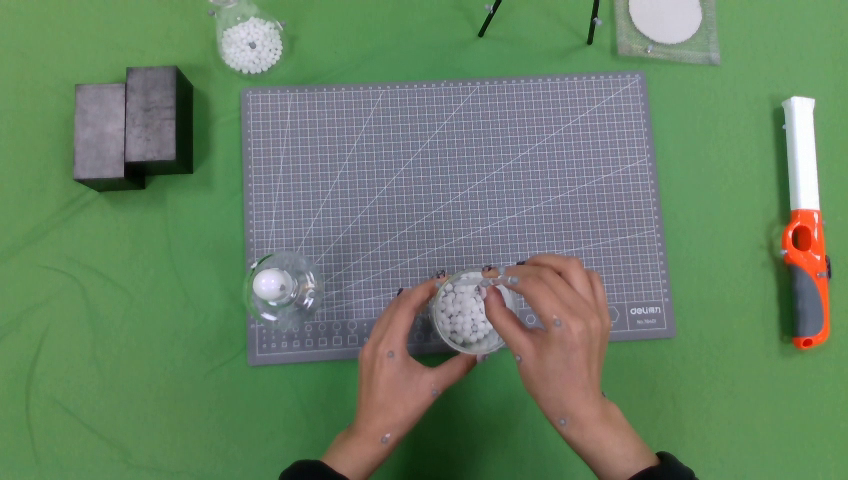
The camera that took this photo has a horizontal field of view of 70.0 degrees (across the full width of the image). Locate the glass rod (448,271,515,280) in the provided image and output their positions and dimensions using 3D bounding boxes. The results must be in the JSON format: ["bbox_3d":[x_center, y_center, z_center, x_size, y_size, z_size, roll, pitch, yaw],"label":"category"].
[{"bbox_3d":[0.043,0.030,0.513,0.008,0.199,0.008,1,86,-10],"label":"glass rod"}]

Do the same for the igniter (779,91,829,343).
[{"bbox_3d":[0.412,-0.027,0.660,0.057,0.025,0.275,4,82,-13],"label":"igniter"}]

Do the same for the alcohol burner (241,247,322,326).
[{"bbox_3d":[-0.140,0.043,0.581,0.078,0.119,0.077,0,81,0],"label":"alcohol burner"}]

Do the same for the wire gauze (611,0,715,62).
[{"bbox_3d":[0.276,-0.268,0.698,0.125,0.011,0.121,3,83,-4],"label":"wire gauze"}]

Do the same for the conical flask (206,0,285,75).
[{"bbox_3d":[-0.189,-0.226,0.614,0.075,0.122,0.075,0,81,-2],"label":"conical flask"}]

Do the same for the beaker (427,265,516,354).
[{"bbox_3d":[0.042,0.061,0.565,0.074,0.100,0.084,41,83,1],"label":"beaker"}]

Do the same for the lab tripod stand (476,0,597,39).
[{"bbox_3d":[0.127,-0.276,0.629,0.148,0.131,0.148,0,84,-2],"label":"lab tripod stand"}]

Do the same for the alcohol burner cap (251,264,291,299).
[{"bbox_3d":[-0.139,0.037,0.545,0.034,0.048,0.034,1,85,-6],"label":"alcohol burner cap"}]
